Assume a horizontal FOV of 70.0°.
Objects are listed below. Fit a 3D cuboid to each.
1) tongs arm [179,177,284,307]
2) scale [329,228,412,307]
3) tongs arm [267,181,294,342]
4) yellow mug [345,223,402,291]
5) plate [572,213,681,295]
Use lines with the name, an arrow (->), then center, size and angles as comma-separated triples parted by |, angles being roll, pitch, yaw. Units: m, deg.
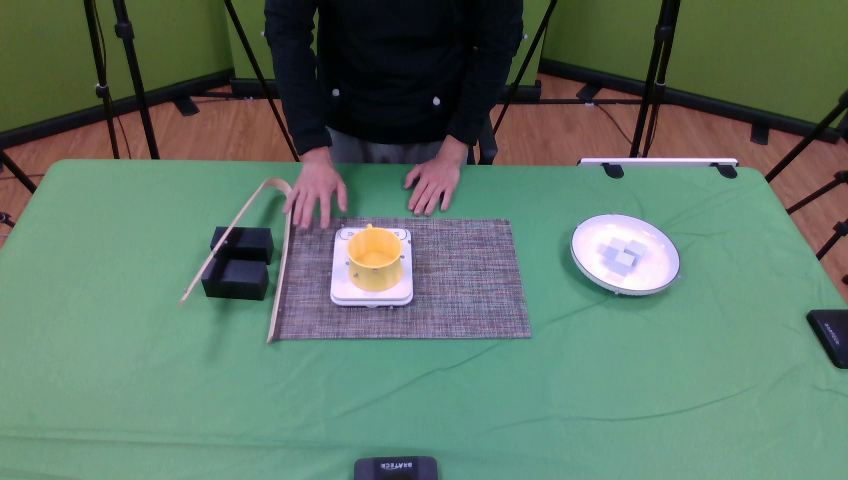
tongs arm -> -0.342, -0.008, 1.118 | 0.051, 0.026, 0.382 | 29, 38, -14
scale -> -0.099, 0.042, 1.139 | 0.149, 0.032, 0.199 | 1, 45, -4
tongs arm -> -0.273, 0.027, 1.144 | 0.028, 0.028, 0.385 | 17, 42, -22
yellow mug -> -0.092, 0.022, 1.093 | 0.100, 0.064, 0.130 | -7, 46, -10
plate -> 0.392, 0.030, 1.189 | 0.208, 0.039, 0.206 | 2, 46, -2
